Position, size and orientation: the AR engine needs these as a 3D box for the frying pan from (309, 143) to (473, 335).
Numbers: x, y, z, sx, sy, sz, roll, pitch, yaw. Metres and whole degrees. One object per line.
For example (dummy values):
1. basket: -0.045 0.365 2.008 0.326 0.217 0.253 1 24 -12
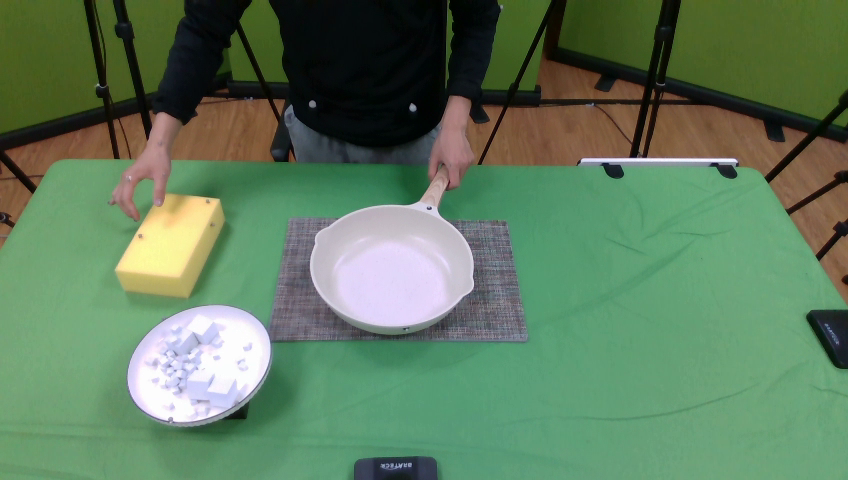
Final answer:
1. frying pan: -0.018 -0.022 1.155 0.306 0.103 0.486 20 57 13

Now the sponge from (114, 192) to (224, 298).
1. sponge: -0.467 0.005 1.129 0.118 0.061 0.205 6 46 1

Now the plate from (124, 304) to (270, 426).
1. plate: -0.336 0.189 0.913 0.208 0.039 0.206 1 46 -1
